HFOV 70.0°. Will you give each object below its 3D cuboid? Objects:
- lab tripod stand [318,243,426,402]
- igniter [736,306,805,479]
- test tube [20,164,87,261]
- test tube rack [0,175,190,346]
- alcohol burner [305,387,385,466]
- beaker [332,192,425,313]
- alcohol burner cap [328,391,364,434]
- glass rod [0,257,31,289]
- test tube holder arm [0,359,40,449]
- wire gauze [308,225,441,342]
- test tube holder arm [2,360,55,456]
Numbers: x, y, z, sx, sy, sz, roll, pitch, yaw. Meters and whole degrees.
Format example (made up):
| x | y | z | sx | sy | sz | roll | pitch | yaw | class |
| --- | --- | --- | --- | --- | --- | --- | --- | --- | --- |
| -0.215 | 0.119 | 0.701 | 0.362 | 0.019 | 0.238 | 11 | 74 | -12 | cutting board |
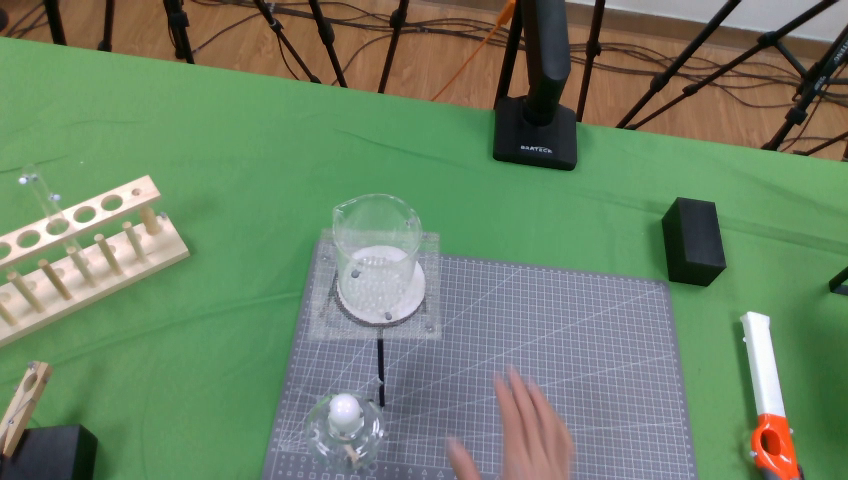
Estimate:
| x | y | z | sx | sy | sz | roll | pitch | yaw | class |
| --- | --- | --- | --- | --- | --- | --- | --- | --- | --- |
| -0.049 | 0.079 | 0.635 | 0.148 | 0.132 | 0.147 | 4 | 57 | -6 | lab tripod stand |
| 0.383 | 0.200 | 0.671 | 0.057 | 0.025 | 0.274 | 15 | 57 | -9 | igniter |
| -0.385 | -0.023 | 0.637 | 0.017 | 0.151 | 0.017 | 4 | 52 | -5 | test tube |
| -0.394 | 0.025 | 0.663 | 0.242 | 0.086 | 0.066 | -29 | 64 | -23 | test tube rack |
| -0.076 | 0.174 | 0.583 | 0.078 | 0.120 | 0.077 | 4 | 56 | -6 | alcohol burner |
| -0.045 | 0.014 | 0.541 | 0.083 | 0.101 | 0.073 | 29 | 59 | 12 | beaker |
| -0.072 | 0.155 | 0.552 | 0.034 | 0.048 | 0.033 | 1 | 60 | -1 | alcohol burner cap |
| -0.442 | -0.003 | 0.596 | 0.008 | 0.201 | 0.008 | 0 | 53 | 0 | glass rod |
| -0.383 | 0.191 | 0.539 | 0.013 | 0.015 | 0.177 | 9 | 56 | 0 | test tube holder arm |
| -0.045 | 0.039 | 0.583 | 0.121 | 0.011 | 0.124 | 2 | 61 | -4 | wire gauze |
| -0.372 | 0.155 | 0.565 | 0.010 | 0.015 | 0.087 | 10 | 56 | 0 | test tube holder arm |
